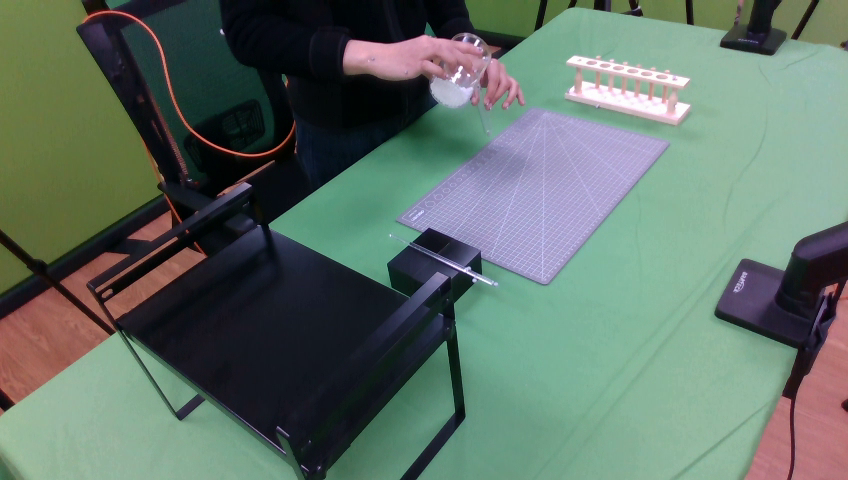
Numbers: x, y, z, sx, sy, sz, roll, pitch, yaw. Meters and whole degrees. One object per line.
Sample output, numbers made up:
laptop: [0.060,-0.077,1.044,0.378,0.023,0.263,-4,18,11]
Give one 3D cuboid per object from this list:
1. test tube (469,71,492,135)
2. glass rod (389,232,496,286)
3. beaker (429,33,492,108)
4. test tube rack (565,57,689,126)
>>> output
test tube: [0.102,-0.242,1.084,0.017,0.151,0.017,-8,56,13]
glass rod: [0.022,0.025,0.878,0.198,0.008,0.008,25,50,33]
beaker: [0.057,-0.267,0.971,0.073,0.084,0.100,16,61,21]
test tube rack: [0.412,-0.311,1.230,0.240,0.085,0.067,23,49,32]
